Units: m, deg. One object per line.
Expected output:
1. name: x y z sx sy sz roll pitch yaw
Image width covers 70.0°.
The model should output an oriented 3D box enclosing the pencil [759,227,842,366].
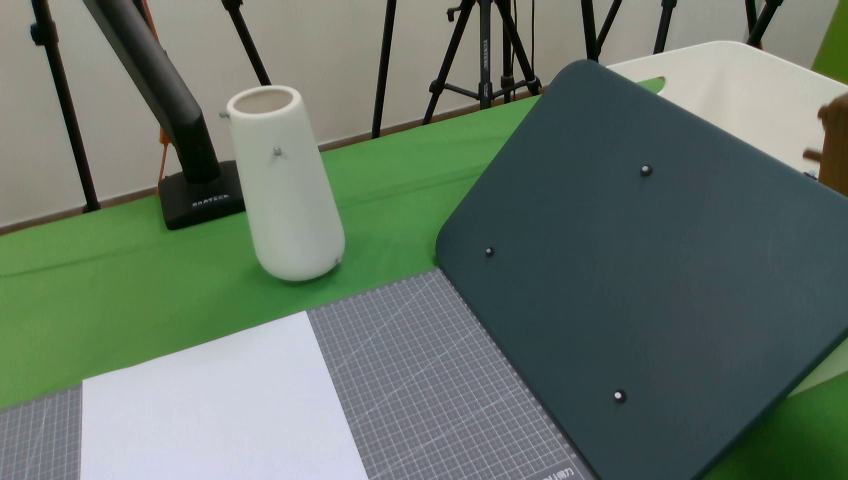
1. pencil: 0.361 0.048 0.586 0.012 0.012 0.192 1 37 7

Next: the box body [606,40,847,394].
1. box body: 0.319 -0.048 0.604 0.254 0.162 0.359 -18 40 -15

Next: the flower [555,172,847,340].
1. flower: 0.291 0.017 0.640 0.358 0.038 0.044 35 16 32

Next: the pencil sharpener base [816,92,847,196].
1. pencil sharpener base: 0.382 -0.070 0.509 0.061 0.108 0.076 -23 32 -19

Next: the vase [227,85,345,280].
1. vase: -0.143 -0.054 0.630 0.098 0.202 0.097 -4 37 3

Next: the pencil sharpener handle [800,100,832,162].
1. pencil sharpener handle: 0.358 -0.100 0.544 0.036 0.068 0.030 -25 33 -17

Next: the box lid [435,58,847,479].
1. box lid: 0.157 0.007 0.525 0.015 0.263 0.367 25 19 -39
